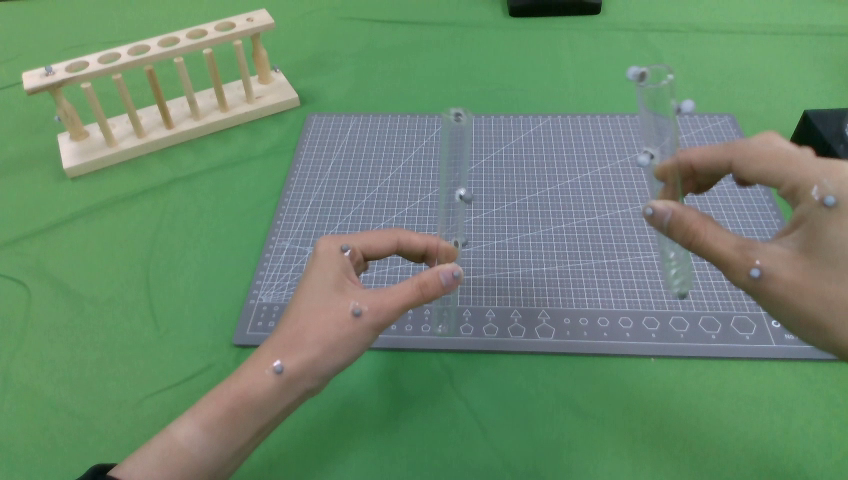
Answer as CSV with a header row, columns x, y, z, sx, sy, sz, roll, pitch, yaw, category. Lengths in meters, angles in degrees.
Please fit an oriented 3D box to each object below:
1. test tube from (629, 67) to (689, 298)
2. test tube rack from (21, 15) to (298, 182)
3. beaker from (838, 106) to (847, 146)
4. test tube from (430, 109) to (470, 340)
x,y,z,sx,sy,sz,roll,pitch,yaw,category
0.118,-0.019,0.300,0.017,0.152,0.017,-15,44,15,test tube
-0.263,-0.150,0.626,0.243,0.086,0.066,-23,49,-18,test tube rack
0.389,-0.121,0.487,0.074,0.101,0.083,-20,48,-15,beaker
0.014,-0.002,0.350,0.017,0.151,0.017,2,32,-1,test tube
